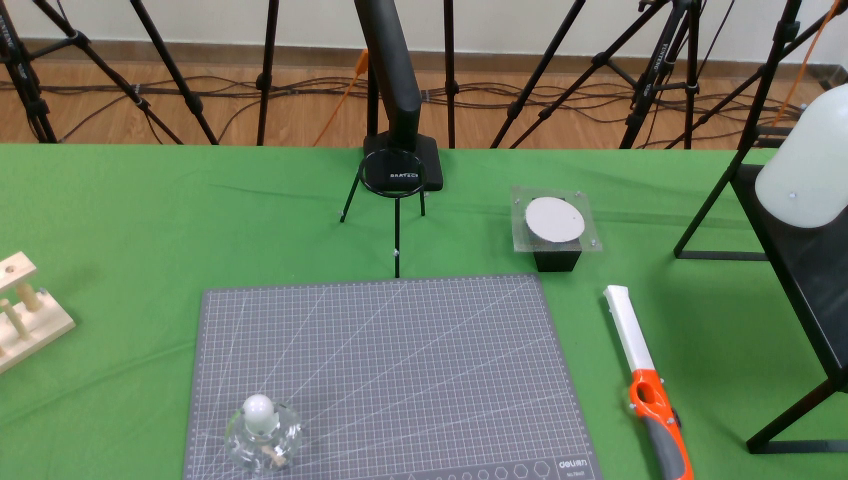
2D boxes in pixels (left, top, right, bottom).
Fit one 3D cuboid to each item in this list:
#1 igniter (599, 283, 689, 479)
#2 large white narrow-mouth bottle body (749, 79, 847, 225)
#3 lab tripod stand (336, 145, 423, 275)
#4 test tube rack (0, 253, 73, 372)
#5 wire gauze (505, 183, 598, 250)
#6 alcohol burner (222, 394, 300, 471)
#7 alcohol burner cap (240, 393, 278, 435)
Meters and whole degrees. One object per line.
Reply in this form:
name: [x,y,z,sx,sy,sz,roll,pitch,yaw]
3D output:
igniter: [0.271,0.170,0.757,0.057,0.025,0.273,7,49,-16]
large white narrow-mouth bottle body: [0.455,-0.113,0.673,0.102,0.196,0.101,4,50,-5]
lab tripod stand: [-0.050,-0.048,0.820,0.149,0.132,0.147,5,51,-6]
test tube rack: [-0.518,0.122,0.639,0.066,0.086,0.242,37,55,21]
wire gauze: [0.177,-0.033,0.860,0.121,0.011,0.124,4,50,-5]
alcohol burner: [-0.166,0.188,0.616,0.078,0.120,0.077,6,49,-6]
alcohol burner cap: [-0.162,0.167,0.587,0.034,0.048,0.033,2,56,-3]
